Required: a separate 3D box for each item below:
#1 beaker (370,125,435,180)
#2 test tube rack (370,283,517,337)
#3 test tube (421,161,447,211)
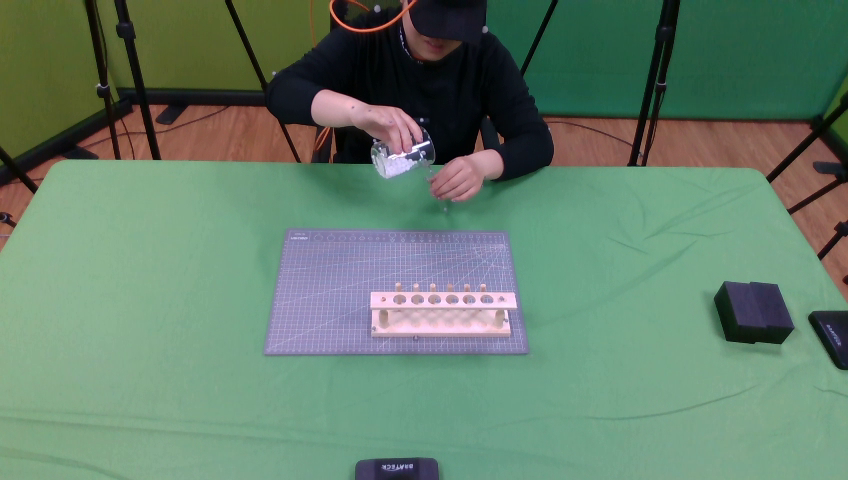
[{"bbox_3d":[-0.041,-0.155,1.106,0.100,0.084,0.073,-23,46,-19],"label":"beaker"},{"bbox_3d":[0.030,0.116,1.041,0.242,0.085,0.066,1,46,-4],"label":"test tube rack"},{"bbox_3d":[0.022,-0.104,1.206,0.017,0.151,0.017,-9,54,13],"label":"test tube"}]
